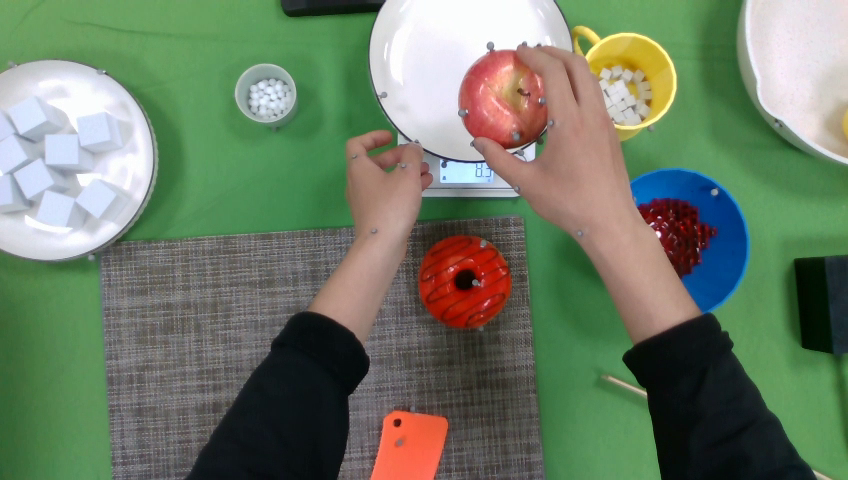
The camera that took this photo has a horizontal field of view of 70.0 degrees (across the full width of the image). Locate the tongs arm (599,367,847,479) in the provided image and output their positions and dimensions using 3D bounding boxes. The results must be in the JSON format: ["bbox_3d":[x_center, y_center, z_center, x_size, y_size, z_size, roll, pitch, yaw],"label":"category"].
[{"bbox_3d":[0.362,0.225,0.650,0.388,0.028,0.028,26,80,-2],"label":"tongs arm"}]

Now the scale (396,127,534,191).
[{"bbox_3d":[0.044,-0.154,0.649,0.149,0.031,0.200,0,88,-2],"label":"scale"}]

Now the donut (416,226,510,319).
[{"bbox_3d":[0.040,0.034,0.633,0.099,0.048,0.099,0,89,0],"label":"donut"}]

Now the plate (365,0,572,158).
[{"bbox_3d":[0.045,-0.186,0.617,0.209,0.038,0.209,0,88,-3],"label":"plate"}]

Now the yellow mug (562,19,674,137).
[{"bbox_3d":[0.192,-0.178,0.639,0.100,0.064,0.131,-37,89,-2],"label":"yellow mug"}]

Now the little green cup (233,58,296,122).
[{"bbox_3d":[-0.164,-0.155,0.637,0.061,0.038,0.061,0,88,-2],"label":"little green cup"}]

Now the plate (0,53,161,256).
[{"bbox_3d":[-0.374,-0.086,0.625,0.208,0.039,0.207,0,88,-2],"label":"plate"}]

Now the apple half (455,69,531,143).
[{"bbox_3d":[0.050,-0.103,0.508,0.081,0.081,0.033,42,87,0],"label":"apple half"}]

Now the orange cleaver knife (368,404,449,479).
[{"bbox_3d":[-0.040,0.268,0.632,0.077,0.012,0.211,25,85,-7],"label":"orange cleaver knife"}]

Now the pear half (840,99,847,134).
[{"bbox_3d":[0.482,-0.130,0.623,0.076,0.110,0.056,33,87,3],"label":"pear half"}]

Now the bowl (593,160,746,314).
[{"bbox_3d":[0.241,-0.002,0.629,0.151,0.077,0.151,0,88,-2],"label":"bowl"}]

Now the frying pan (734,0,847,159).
[{"bbox_3d":[0.521,-0.135,0.632,0.307,0.103,0.486,-31,81,-2],"label":"frying pan"}]

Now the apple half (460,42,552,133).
[{"bbox_3d":[0.075,-0.133,0.509,0.081,0.074,0.053,41,87,-5],"label":"apple half"}]
